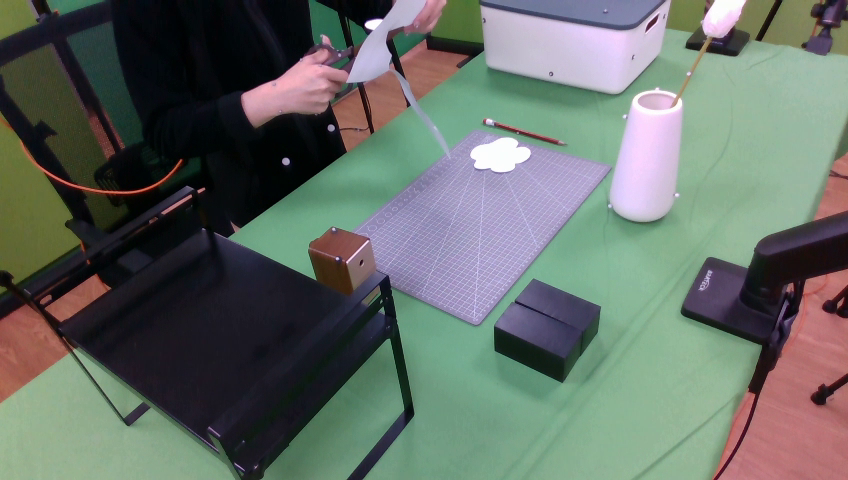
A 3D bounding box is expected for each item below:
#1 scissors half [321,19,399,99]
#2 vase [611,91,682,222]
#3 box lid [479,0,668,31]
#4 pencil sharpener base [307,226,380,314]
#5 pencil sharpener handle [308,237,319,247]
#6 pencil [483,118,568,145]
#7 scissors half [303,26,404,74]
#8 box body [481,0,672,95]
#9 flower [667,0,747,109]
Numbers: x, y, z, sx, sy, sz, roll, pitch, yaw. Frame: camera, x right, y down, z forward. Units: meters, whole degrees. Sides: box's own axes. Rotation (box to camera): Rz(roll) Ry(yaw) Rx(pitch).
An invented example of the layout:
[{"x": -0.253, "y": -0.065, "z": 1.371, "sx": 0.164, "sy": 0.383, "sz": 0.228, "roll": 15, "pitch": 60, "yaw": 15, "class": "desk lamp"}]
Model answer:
[{"x": -0.098, "y": -0.278, "z": 0.932, "sx": 0.174, "sy": 0.040, "sz": 0.013, "roll": -40, "pitch": 17, "yaw": 30, "class": "scissors half"}, {"x": 0.348, "y": -0.125, "z": 0.935, "sx": 0.098, "sy": 0.201, "sz": 0.097, "roll": -3, "pitch": 40, "yaw": 3, "class": "vase"}, {"x": 0.335, "y": -0.536, "z": 1.331, "sx": 0.368, "sy": 0.015, "sz": 0.264, "roll": 23, "pitch": 49, "yaw": 30, "class": "box lid"}, {"x": -0.116, "y": 0.043, "z": 0.875, "sx": 0.076, "sy": 0.107, "sz": 0.061, "roll": 18, "pitch": 47, "yaw": 27, "class": "pencil sharpener base"}, {"x": -0.159, "y": 0.017, "z": 0.892, "sx": 0.030, "sy": 0.068, "sz": 0.036, "roll": 18, "pitch": 61, "yaw": 27, "class": "pencil sharpener handle"}, {"x": 0.202, "y": -0.217, "z": 1.212, "sx": 0.192, "sy": 0.012, "sz": 0.012, "roll": 24, "pitch": 49, "yaw": 29, "class": "pencil"}, {"x": -0.110, "y": -0.295, "z": 0.924, "sx": 0.174, "sy": 0.040, "sz": 0.013, "roll": -13, "pitch": 33, "yaw": 18, "class": "scissors half"}, {"x": 0.341, "y": -0.480, "z": 1.381, "sx": 0.361, "sy": 0.161, "sz": 0.255, "roll": 22, "pitch": 48, "yaw": 30, "class": "box body"}, {"x": 0.354, "y": -0.187, "z": 0.879, "sx": 0.038, "sy": 0.362, "sz": 0.044, "roll": 30, "pitch": 48, "yaw": 14, "class": "flower"}]
